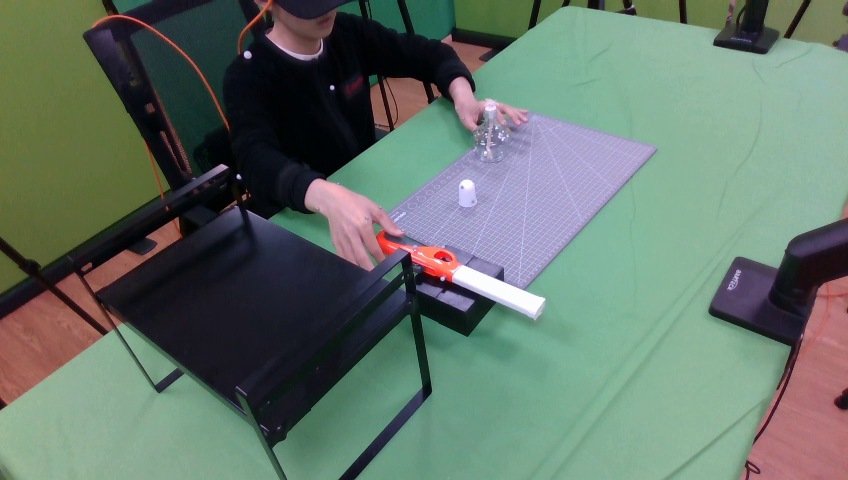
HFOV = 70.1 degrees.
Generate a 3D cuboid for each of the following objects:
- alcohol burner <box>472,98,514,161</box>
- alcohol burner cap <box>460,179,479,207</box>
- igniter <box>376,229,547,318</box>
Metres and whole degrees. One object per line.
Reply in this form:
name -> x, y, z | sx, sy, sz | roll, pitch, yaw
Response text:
alcohol burner -> 0.127, -0.208, 1.123 | 0.078, 0.119, 0.077 | -5, 39, 5
alcohol burner cap -> 0.078, -0.083, 1.041 | 0.034, 0.048, 0.033 | -5, 42, 5
igniter -> 0.040, 0.041, 0.845 | 0.274, 0.025, 0.057 | 22, 46, 27
